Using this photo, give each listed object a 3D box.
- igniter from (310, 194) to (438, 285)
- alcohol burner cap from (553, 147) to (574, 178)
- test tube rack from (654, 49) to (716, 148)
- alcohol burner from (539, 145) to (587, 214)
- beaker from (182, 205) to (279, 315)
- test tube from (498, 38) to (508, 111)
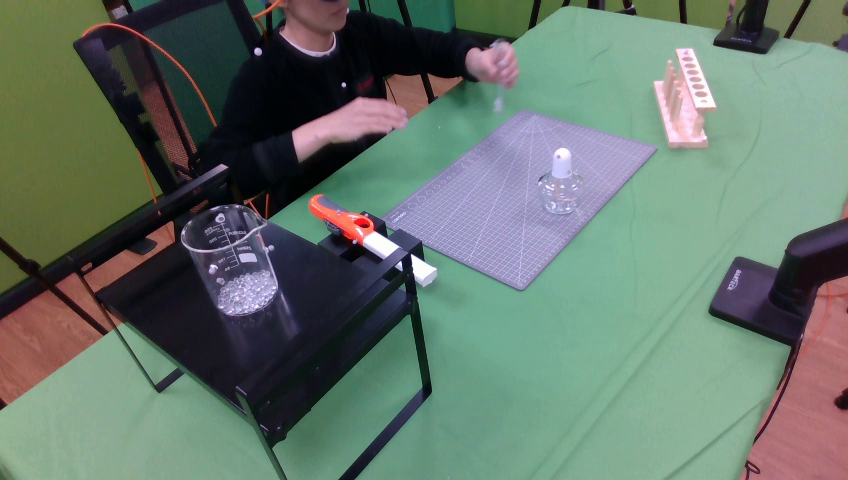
[{"bbox_3d":[-0.086,-0.007,0.921,0.274,0.025,0.057,31,51,34],"label":"igniter"},{"bbox_3d":[0.224,-0.125,0.965,0.034,0.048,0.033,-5,44,5],"label":"alcohol burner cap"},{"bbox_3d":[0.502,-0.281,1.176,0.066,0.085,0.241,1,41,11],"label":"test tube rack"},{"bbox_3d":[0.226,-0.102,0.986,0.078,0.119,0.077,-6,41,6],"label":"alcohol burner"},{"bbox_3d":[-0.197,0.024,0.641,0.084,0.101,0.073,-12,41,-6],"label":"beaker"},{"bbox_3d":[0.142,-0.294,1.086,0.017,0.151,0.017,-3,51,4],"label":"test tube"}]
